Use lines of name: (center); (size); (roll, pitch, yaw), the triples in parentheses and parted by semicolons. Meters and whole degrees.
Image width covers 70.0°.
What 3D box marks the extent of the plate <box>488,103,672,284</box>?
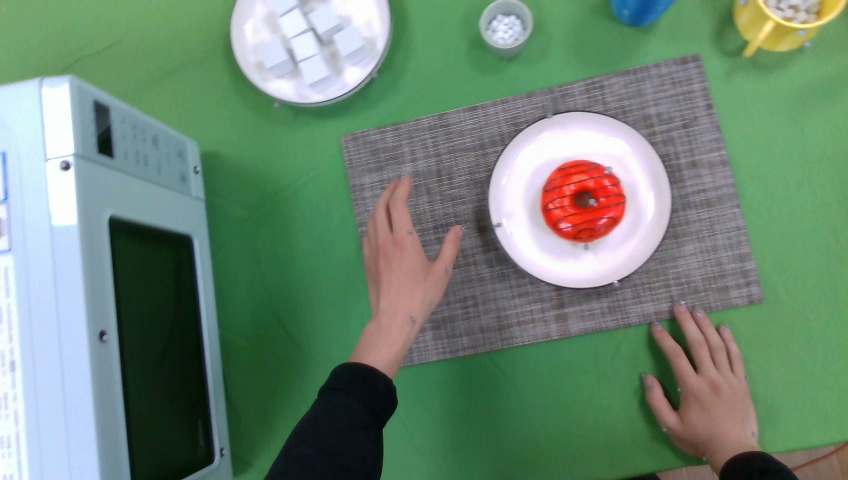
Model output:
plate: (0.179, -0.053, 0.708); (0.209, 0.038, 0.208); (-1, 85, 7)

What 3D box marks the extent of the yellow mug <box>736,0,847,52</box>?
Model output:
yellow mug: (0.409, -0.269, 0.687); (0.099, 0.064, 0.131); (37, 91, 9)

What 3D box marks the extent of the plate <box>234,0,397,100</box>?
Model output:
plate: (-0.135, -0.276, 0.770); (0.207, 0.039, 0.207); (-1, 85, 7)

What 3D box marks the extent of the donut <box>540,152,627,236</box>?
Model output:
donut: (0.182, -0.052, 0.697); (0.099, 0.048, 0.099); (-1, 85, 10)

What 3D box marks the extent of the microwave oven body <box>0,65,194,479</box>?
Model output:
microwave oven body: (-0.431, 0.087, 0.661); (0.326, 0.261, 0.440); (-8, 85, 6)

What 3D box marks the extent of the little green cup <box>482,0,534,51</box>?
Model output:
little green cup: (0.103, -0.263, 0.739); (0.061, 0.039, 0.061); (-1, 84, 8)

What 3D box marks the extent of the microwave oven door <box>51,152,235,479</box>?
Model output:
microwave oven door: (-0.283, 0.107, 0.635); (0.039, 0.244, 0.354); (-9, 84, 7)

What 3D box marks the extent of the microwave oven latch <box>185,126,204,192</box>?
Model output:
microwave oven latch: (-0.296, -0.100, 0.757); (0.030, 0.029, 0.079); (-7, 85, 6)

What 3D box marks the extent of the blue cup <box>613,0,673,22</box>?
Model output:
blue cup: (0.257, -0.299, 0.692); (0.092, 0.100, 0.092); (0, 86, 7)
